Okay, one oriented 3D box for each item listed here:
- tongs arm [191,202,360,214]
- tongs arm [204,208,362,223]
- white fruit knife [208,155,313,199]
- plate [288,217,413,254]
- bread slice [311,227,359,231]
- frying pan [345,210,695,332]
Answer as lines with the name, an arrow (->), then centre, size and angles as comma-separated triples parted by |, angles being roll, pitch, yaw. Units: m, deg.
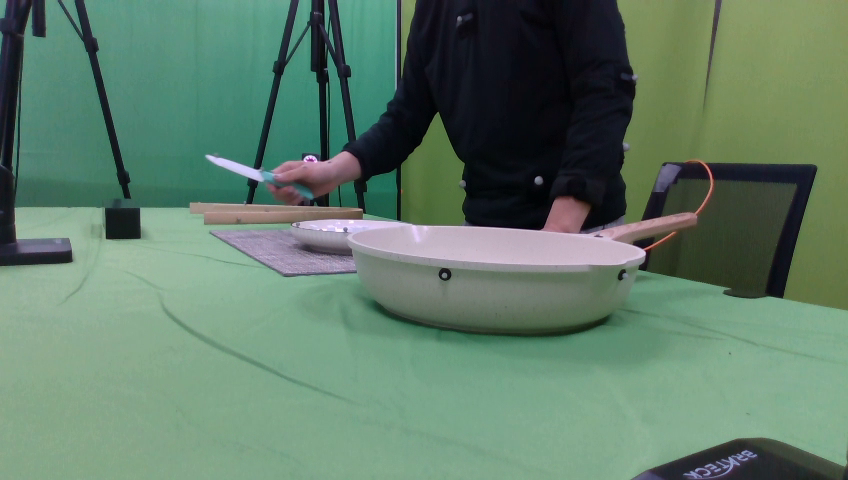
tongs arm -> -0.333, -0.068, 1.403 | 0.387, 0.026, 0.050 | 0, 8, -27
tongs arm -> -0.292, -0.055, 1.337 | 0.390, 0.028, 0.028 | -3, 6, -40
white fruit knife -> -0.286, -0.115, 1.077 | 0.208, 0.027, 0.016 | 19, -42, -42
plate -> -0.109, -0.007, 0.956 | 0.208, 0.039, 0.207 | 2, 7, 0
bread slice -> -0.115, -0.005, 0.950 | 0.134, 0.018, 0.107 | 3, 6, -7
frying pan -> 0.153, 0.009, 0.668 | 0.490, 0.102, 0.305 | -12, 15, -32
